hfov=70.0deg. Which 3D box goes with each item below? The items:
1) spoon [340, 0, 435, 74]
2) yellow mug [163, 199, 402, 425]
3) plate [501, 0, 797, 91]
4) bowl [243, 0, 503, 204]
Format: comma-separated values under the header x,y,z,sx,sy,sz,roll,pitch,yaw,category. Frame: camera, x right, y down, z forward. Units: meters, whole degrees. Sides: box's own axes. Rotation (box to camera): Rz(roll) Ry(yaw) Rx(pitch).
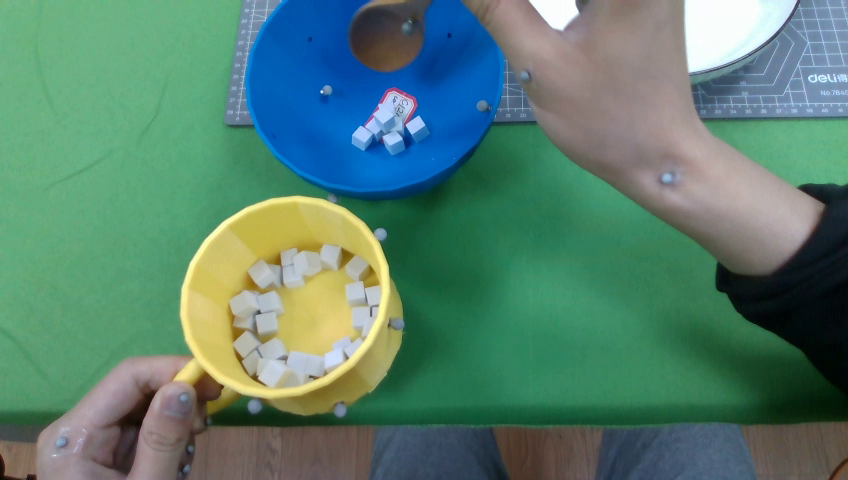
x,y,z,sx,sy,sz,roll,pitch,yaw,category
0.004,-0.113,0.266,0.042,0.193,0.021,23,79,-21,spoon
-0.075,0.047,0.310,0.131,0.064,0.099,-42,72,-12,yellow mug
0.153,-0.191,0.431,0.209,0.038,0.207,-1,70,3,plate
-0.027,-0.084,0.383,0.151,0.077,0.150,-1,74,4,bowl
